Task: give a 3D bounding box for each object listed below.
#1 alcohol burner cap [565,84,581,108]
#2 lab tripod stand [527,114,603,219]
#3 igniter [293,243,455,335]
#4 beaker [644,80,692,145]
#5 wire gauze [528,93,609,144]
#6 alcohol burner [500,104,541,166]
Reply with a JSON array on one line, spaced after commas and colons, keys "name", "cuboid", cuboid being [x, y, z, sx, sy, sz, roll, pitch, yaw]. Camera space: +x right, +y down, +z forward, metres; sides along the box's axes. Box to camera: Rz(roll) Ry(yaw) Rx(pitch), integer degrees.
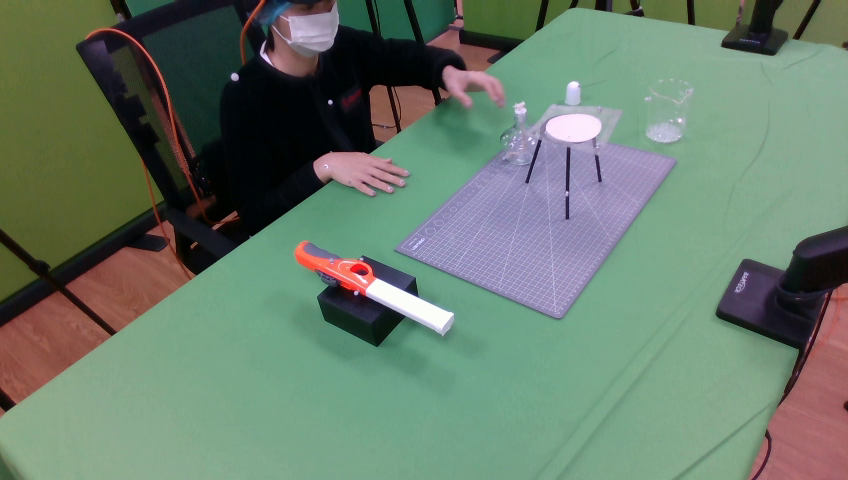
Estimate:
[{"name": "alcohol burner cap", "cuboid": [0.315, -0.307, 1.278, 0.034, 0.048, 0.033, -5, 42, 5]}, {"name": "lab tripod stand", "cuboid": [0.234, -0.129, 1.002, 0.148, 0.132, 0.147, -6, 40, 6]}, {"name": "igniter", "cuboid": [-0.079, 0.062, 0.837, 0.274, 0.025, 0.057, 23, 49, 27]}, {"name": "beaker", "cuboid": [0.451, -0.233, 1.122, 0.074, 0.101, 0.083, -8, 40, 1]}, {"name": "wire gauze", "cuboid": [0.225, -0.188, 0.943, 0.121, 0.011, 0.124, 6, 48, 9]}, {"name": "alcohol burner", "cuboid": [0.178, -0.196, 1.106, 0.078, 0.119, 0.077, -5, 42, 5]}]
